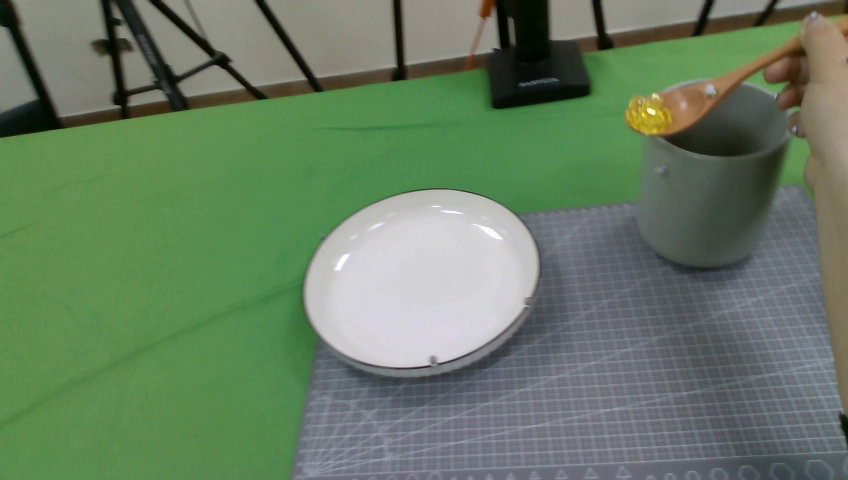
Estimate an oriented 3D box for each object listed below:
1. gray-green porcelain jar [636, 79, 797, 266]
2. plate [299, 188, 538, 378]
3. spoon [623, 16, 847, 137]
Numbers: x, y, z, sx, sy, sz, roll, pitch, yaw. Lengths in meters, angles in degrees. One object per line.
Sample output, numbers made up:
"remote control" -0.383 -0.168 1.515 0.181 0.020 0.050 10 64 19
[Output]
"gray-green porcelain jar" 0.232 -0.050 0.498 0.106 0.128 0.105 -7 45 7
"plate" -0.004 0.036 0.534 0.207 0.039 0.205 -6 45 7
"spoon" 0.227 -0.115 0.397 0.193 0.022 0.041 -25 44 20
